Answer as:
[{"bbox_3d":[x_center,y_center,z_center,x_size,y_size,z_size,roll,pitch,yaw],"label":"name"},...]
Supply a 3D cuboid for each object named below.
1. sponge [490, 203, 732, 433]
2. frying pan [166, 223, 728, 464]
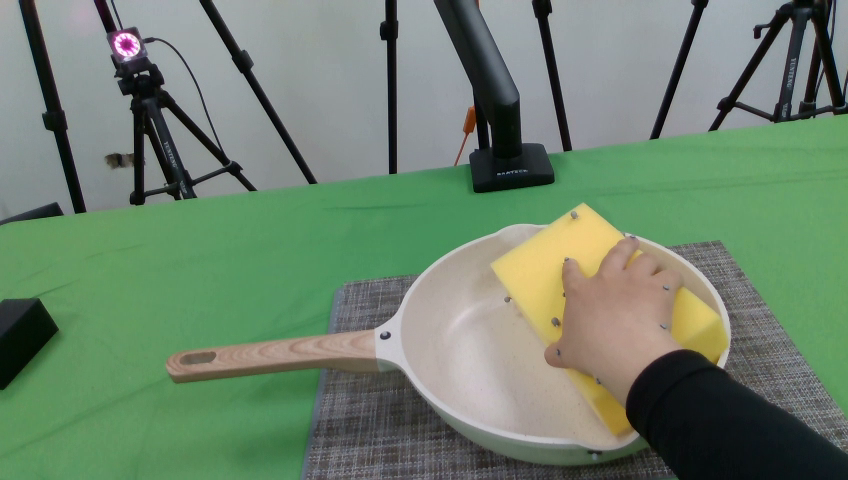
[{"bbox_3d":[0.159,0.060,0.559,0.118,0.061,0.204,-34,34,1],"label":"sponge"},{"bbox_3d":[0.017,0.093,0.558,0.488,0.103,0.303,-3,32,-5],"label":"frying pan"}]
